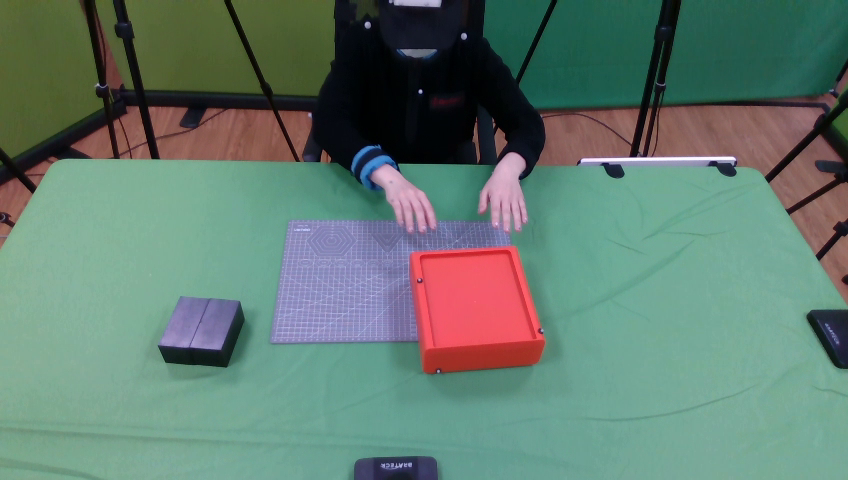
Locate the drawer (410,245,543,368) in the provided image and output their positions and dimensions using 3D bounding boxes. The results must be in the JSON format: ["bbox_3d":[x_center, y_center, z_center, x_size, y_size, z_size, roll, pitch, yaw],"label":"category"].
[{"bbox_3d":[0.083,0.111,1.051,0.195,0.073,0.210,-3,47,-8],"label":"drawer"}]

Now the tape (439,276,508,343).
[{"bbox_3d":[0.084,0.119,1.052,0.117,0.053,0.116,2,45,-2],"label":"tape"}]

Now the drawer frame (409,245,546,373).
[{"bbox_3d":[0.084,0.113,1.049,0.202,0.083,0.212,-4,47,-8],"label":"drawer frame"}]
